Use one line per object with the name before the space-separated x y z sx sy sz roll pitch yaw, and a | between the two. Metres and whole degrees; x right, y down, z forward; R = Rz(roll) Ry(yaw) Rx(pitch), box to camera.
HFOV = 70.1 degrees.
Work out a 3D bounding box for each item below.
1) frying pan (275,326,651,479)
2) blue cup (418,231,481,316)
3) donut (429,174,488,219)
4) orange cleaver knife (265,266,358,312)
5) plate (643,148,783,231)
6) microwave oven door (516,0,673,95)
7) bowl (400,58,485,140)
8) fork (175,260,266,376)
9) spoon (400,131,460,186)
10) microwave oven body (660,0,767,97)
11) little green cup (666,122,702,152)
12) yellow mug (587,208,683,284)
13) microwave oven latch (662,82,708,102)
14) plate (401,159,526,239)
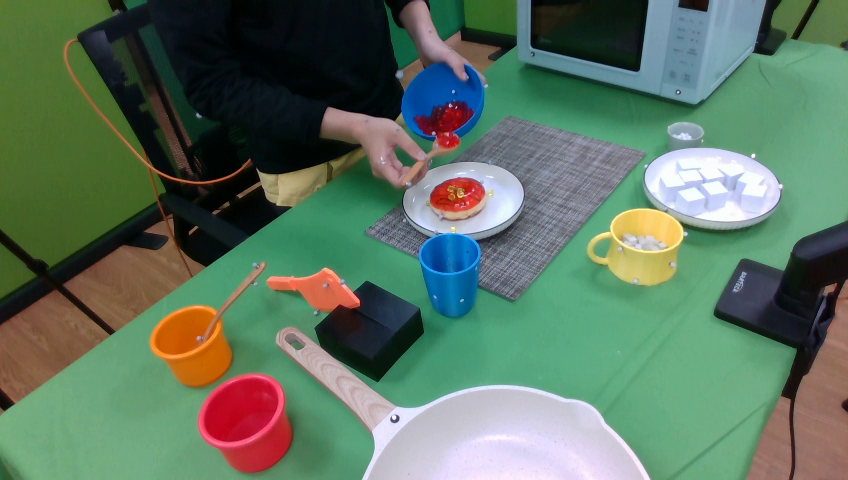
frying pan | 0.003 0.229 0.641 0.484 0.103 0.308 34 54 28
blue cup | 0.040 0.053 0.843 0.092 0.100 0.092 -4 43 4
donut | 0.058 -0.075 1.015 0.099 0.048 0.098 -6 38 5
orange cleaver knife | -0.164 0.073 0.864 0.210 0.077 0.012 -6 30 50
plate | 0.464 -0.080 0.986 0.207 0.039 0.206 -4 41 4
microwave oven door | 0.344 -0.458 1.256 0.353 0.245 0.039 26 51 33
bowl | 0.042 -0.233 1.064 0.151 0.077 0.151 -7 69 18
fork | -0.268 0.103 0.792 0.207 0.019 0.028 -51 41 16
spoon | 0.006 -0.127 0.917 0.041 0.022 0.194 16 32 19
microwave oven body | 0.473 -0.516 1.313 0.438 0.261 0.327 26 51 34
little green cup | 0.471 -0.184 1.102 0.061 0.039 0.061 -5 41 5
yellow mug | 0.305 0.009 0.884 0.131 0.064 0.099 -4 41 5
microwave oven latch | 0.518 -0.299 1.202 0.078 0.029 0.030 29 53 35
plate | 0.067 -0.065 1.019 0.209 0.038 0.208 -4 40 4
